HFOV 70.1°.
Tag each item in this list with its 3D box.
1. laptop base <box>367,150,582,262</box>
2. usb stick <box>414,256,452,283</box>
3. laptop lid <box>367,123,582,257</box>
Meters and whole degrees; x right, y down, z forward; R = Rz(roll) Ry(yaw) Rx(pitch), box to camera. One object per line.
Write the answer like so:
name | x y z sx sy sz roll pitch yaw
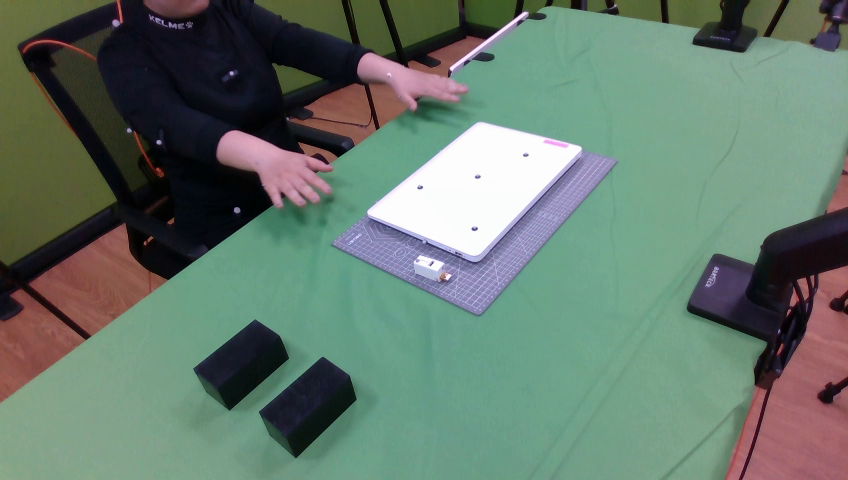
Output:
laptop base | 0.098 -0.097 1.071 0.233 0.023 0.355 20 47 33
usb stick | 0.015 0.046 0.905 0.059 0.027 0.021 21 47 25
laptop lid | 0.095 -0.106 1.066 0.239 0.013 0.358 23 48 34
